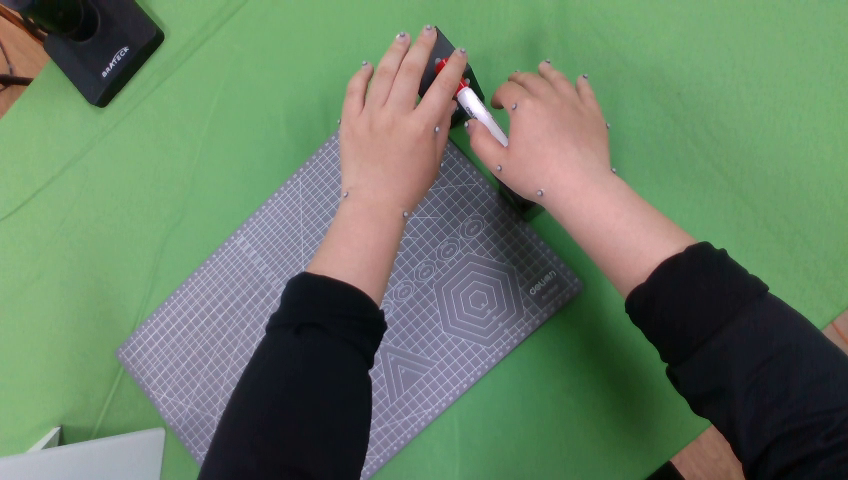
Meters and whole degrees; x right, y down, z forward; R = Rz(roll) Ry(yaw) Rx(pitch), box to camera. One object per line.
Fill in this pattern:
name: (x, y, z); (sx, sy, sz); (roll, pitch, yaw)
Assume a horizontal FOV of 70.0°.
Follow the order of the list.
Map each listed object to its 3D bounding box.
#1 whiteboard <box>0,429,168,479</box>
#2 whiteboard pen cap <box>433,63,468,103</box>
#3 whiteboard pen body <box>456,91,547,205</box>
whiteboard: (-0.444, 0.301, 0.598); (0.143, 0.307, 0.217); (8, 90, 32)
whiteboard pen cap: (0.023, -0.136, 0.525); (0.017, 0.017, 0.032); (-37, 83, 9)
whiteboard pen body: (0.059, -0.088, 0.518); (0.017, 0.017, 0.140); (-37, 81, 9)
